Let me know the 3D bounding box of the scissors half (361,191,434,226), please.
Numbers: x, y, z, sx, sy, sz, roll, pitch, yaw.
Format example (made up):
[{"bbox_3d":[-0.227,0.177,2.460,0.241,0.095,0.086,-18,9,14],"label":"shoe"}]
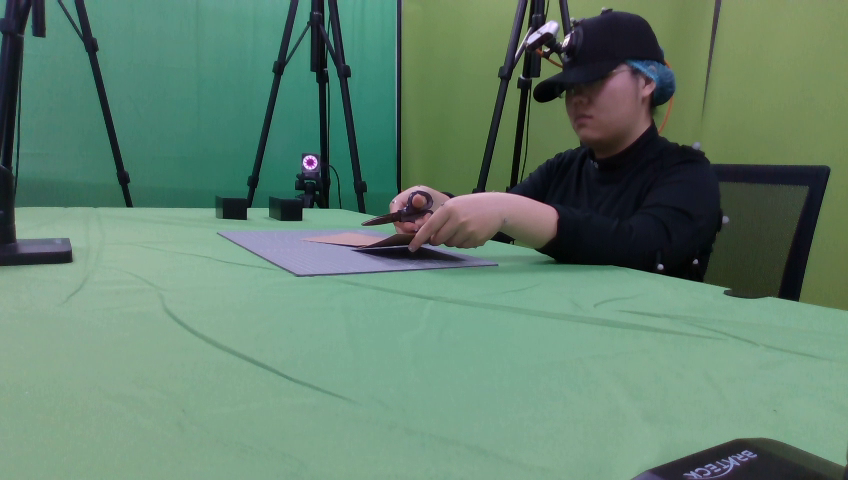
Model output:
[{"bbox_3d":[-0.044,-0.050,1.025,0.013,0.040,0.176,-4,16,43],"label":"scissors half"}]

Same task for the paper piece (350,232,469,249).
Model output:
[{"bbox_3d":[-0.025,0.001,0.923,0.137,0.008,0.137,-9,-1,-36],"label":"paper piece"}]

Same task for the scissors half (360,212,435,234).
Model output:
[{"bbox_3d":[-0.042,-0.030,1.028,0.012,0.040,0.176,3,2,43],"label":"scissors half"}]

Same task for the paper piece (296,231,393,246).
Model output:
[{"bbox_3d":[-0.127,-0.003,1.052,0.135,0.004,0.136,7,8,32],"label":"paper piece"}]
